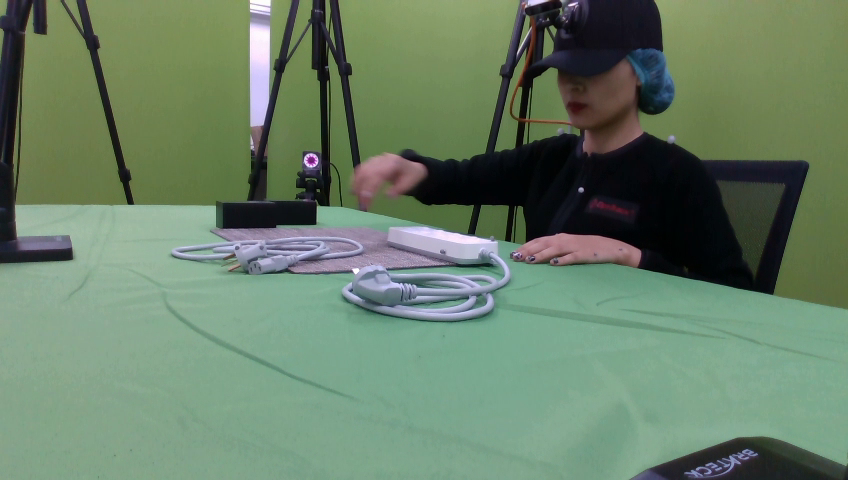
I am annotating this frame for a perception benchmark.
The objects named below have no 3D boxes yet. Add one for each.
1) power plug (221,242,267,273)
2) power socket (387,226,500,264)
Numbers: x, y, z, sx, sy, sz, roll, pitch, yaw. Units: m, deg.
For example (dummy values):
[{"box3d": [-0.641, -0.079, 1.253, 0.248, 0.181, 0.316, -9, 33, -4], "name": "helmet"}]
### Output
[{"box3d": [-0.217, 0.024, 0.737, 0.053, 0.035, 0.072, -23, -5, -9], "name": "power plug"}, {"box3d": [0.023, 0.004, 0.912, 0.072, 0.032, 0.225, -3, 10, -34], "name": "power socket"}]
